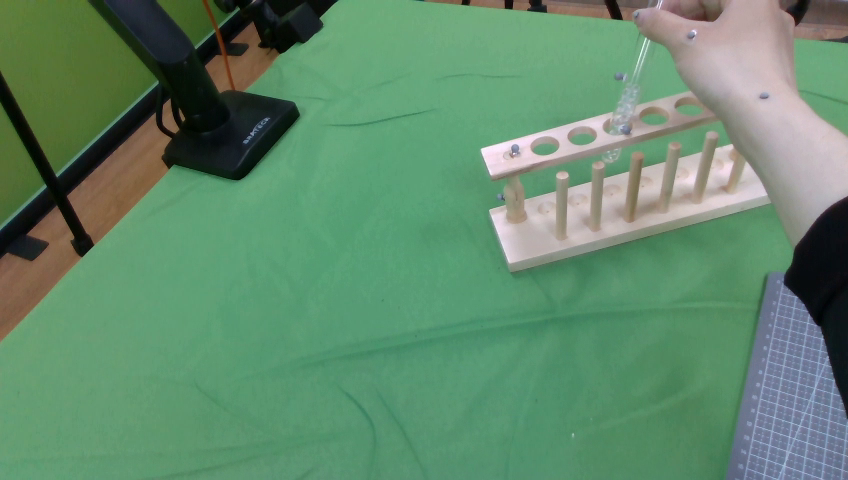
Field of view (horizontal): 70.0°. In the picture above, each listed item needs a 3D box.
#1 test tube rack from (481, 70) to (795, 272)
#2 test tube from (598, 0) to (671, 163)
[{"bbox_3d":[0.175,-0.054,0.494,0.242,0.086,0.066,-15,49,0],"label":"test tube rack"},{"bbox_3d":[0.160,-0.130,0.456,0.017,0.151,0.017,10,25,-4],"label":"test tube"}]
